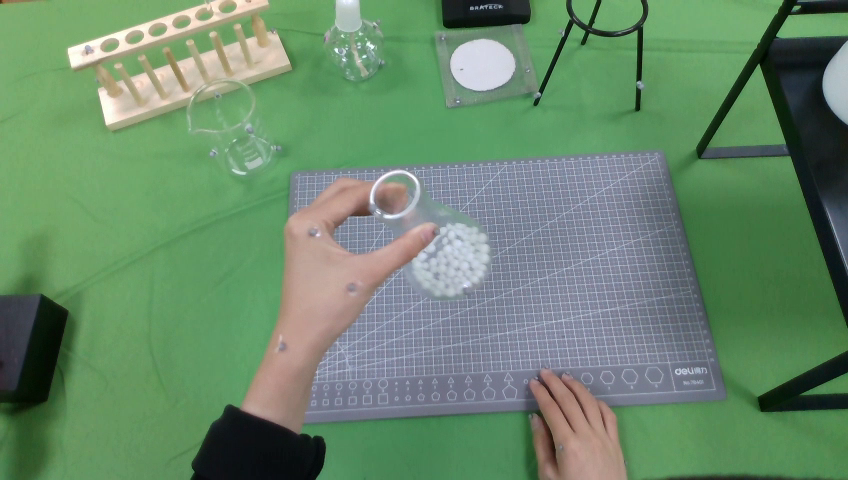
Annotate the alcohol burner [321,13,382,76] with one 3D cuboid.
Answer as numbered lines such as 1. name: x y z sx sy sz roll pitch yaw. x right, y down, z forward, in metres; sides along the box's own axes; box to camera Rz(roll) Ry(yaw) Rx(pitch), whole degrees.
1. alcohol burner: -0.093 -0.264 0.756 0.078 0.120 0.077 0 62 1

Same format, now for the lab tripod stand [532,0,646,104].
1. lab tripod stand: 0.204 -0.235 0.721 0.148 0.132 0.147 0 64 0

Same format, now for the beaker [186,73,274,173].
1. beaker: -0.223 -0.129 0.703 0.073 0.101 0.084 41 73 20

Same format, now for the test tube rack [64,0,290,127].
1. test tube rack: -0.303 -0.232 0.762 0.242 0.086 0.066 -22 66 -8

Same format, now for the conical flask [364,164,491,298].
1. conical flask: -0.001 -0.010 0.437 0.075 0.123 0.075 -8 65 18

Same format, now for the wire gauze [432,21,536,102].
1. wire gauze: 0.077 -0.239 0.796 0.121 0.011 0.124 -7 64 -3

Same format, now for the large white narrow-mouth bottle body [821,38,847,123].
1. large white narrow-mouth bottle body: 0.397 -0.172 0.452 0.102 0.196 0.101 -1 63 1

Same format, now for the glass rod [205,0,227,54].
1. glass rod: -0.259 -0.295 0.717 0.008 0.201 0.008 1 62 -2

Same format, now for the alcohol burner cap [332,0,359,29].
1. alcohol burner cap: -0.094 -0.281 0.723 0.034 0.048 0.033 3 63 -6
